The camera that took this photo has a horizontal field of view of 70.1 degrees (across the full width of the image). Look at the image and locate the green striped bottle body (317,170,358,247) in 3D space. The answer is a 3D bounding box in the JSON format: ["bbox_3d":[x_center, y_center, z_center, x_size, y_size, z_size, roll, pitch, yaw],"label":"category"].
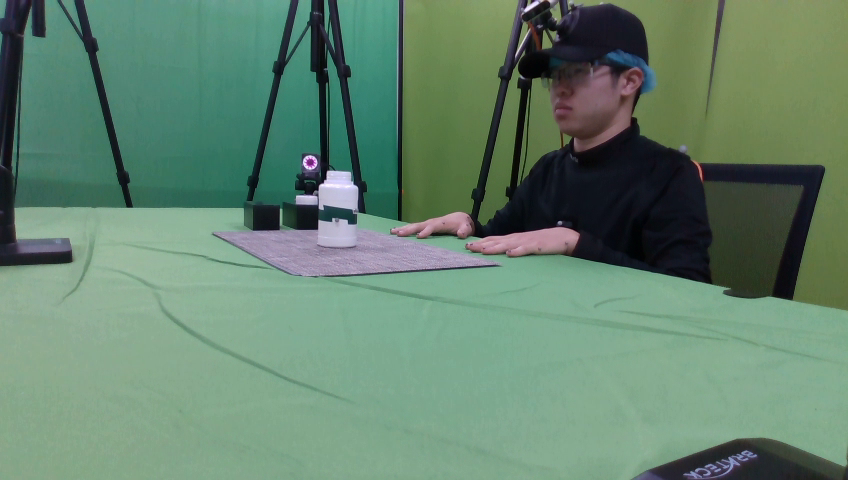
[{"bbox_3d":[-0.138,-0.051,0.964,0.063,0.119,0.063,2,7,0],"label":"green striped bottle body"}]

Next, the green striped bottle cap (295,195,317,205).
[{"bbox_3d":[-0.240,-0.082,1.228,0.044,0.020,0.044,1,4,0],"label":"green striped bottle cap"}]
